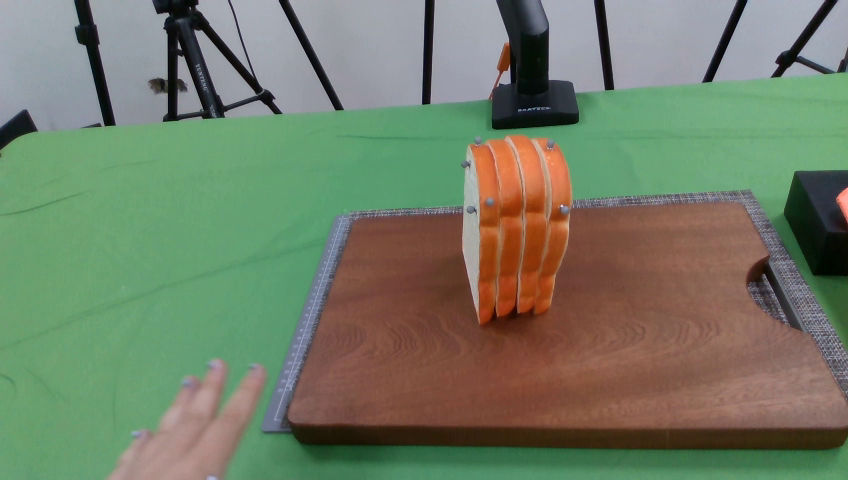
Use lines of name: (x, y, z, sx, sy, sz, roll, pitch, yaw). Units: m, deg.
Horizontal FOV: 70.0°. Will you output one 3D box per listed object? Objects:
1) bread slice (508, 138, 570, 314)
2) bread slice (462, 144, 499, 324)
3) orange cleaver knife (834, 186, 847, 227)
bread slice: (0.097, -0.018, 0.516, 0.019, 0.132, 0.104, -1, 39, -6)
bread slice: (0.047, -0.014, 0.519, 0.018, 0.135, 0.106, -4, 34, -2)
orange cleaver knife: (0.379, 0.033, 0.484, 0.077, 0.012, 0.210, 8, 59, 14)
